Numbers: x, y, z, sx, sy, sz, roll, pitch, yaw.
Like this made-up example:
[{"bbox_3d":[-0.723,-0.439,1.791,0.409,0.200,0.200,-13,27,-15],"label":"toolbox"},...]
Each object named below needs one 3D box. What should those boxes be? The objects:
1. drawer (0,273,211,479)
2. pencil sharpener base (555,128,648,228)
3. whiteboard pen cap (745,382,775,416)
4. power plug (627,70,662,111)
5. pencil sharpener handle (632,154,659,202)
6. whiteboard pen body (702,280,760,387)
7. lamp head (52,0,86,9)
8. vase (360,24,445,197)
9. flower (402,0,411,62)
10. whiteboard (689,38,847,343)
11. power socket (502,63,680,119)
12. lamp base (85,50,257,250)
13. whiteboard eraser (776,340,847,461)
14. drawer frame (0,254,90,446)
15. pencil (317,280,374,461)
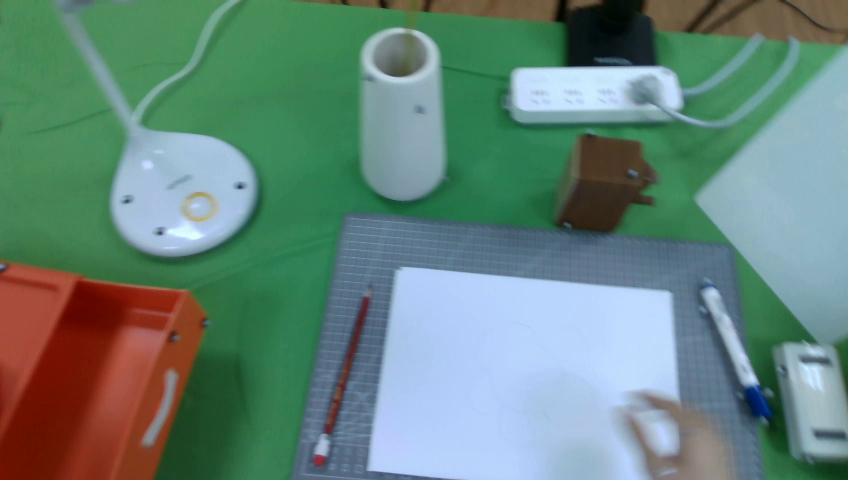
[{"bbox_3d":[-0.322,0.124,0.531,0.211,0.074,0.193,8,64,4],"label":"drawer"},{"bbox_3d":[0.193,-0.065,0.669,0.076,0.108,0.061,7,63,3],"label":"pencil sharpener base"},{"bbox_3d":[0.332,0.157,0.601,0.018,0.018,0.033,-10,62,-6],"label":"whiteboard pen cap"},{"bbox_3d":[0.266,-0.176,0.742,0.035,0.053,0.072,9,65,4],"label":"power plug"},{"bbox_3d":[0.244,-0.064,0.656,0.030,0.068,0.035,7,62,3],"label":"pencil sharpener handle"},{"bbox_3d":[0.323,0.106,0.630,0.017,0.017,0.139,-10,63,-5],"label":"whiteboard pen body"},{"bbox_3d":[-0.234,-0.226,0.377,0.124,0.112,0.112,45,65,-22],"label":"lamp head"},{"bbox_3d":[-0.026,-0.131,0.647,0.098,0.201,0.097,0,62,1],"label":"vase"},{"bbox_3d":[-0.017,-0.184,0.582,0.038,0.365,0.043,-6,45,-11],"label":"flower"},{"bbox_3d":[0.470,-0.073,0.601,0.144,0.307,0.215,-17,62,-30],"label":"whiteboard"},{"bbox_3d":[0.214,-0.190,0.775,0.227,0.033,0.071,0,64,-2],"label":"power socket"},{"bbox_3d":[-0.285,-0.102,0.638,0.178,0.182,0.160,35,67,19],"label":"lamp base"},{"bbox_3d":[0.386,0.157,0.597,0.055,0.042,0.112,5,63,0],"label":"whiteboard eraser"},{"bbox_3d":[-0.427,0.108,0.534,0.214,0.083,0.200,11,64,-1],"label":"drawer frame"},{"bbox_3d":[-0.076,0.126,0.620,0.012,0.012,0.192,11,62,5],"label":"pencil"}]
